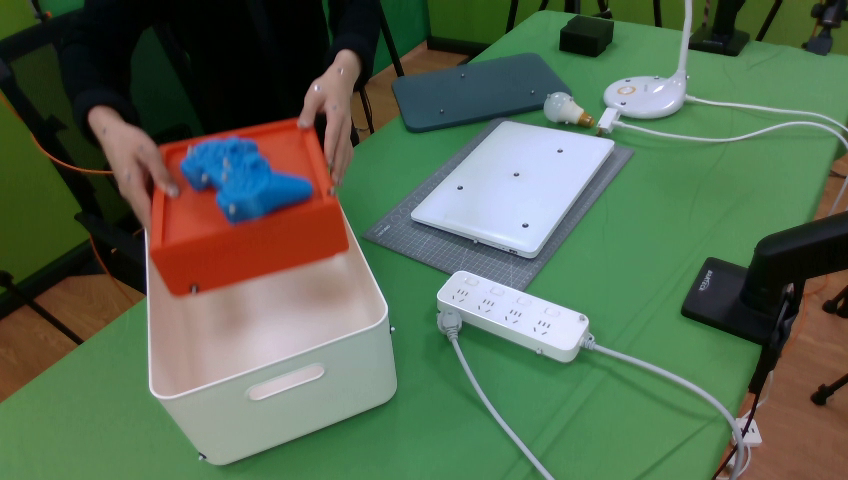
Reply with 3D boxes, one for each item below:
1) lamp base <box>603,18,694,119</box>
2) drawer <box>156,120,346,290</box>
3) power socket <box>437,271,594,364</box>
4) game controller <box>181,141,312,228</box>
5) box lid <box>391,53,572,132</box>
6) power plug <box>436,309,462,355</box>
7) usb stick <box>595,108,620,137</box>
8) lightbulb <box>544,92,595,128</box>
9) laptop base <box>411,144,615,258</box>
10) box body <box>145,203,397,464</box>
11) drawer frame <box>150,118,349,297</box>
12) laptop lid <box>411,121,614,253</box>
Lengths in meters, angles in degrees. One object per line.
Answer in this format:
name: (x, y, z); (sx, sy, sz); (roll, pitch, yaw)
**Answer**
lamp base: (0.460, -0.355, 1.205); (0.179, 0.181, 0.160); (2, 41, 7)
drawer: (-0.212, -0.050, 0.732); (0.195, 0.073, 0.210); (-14, 41, -11)
power socket: (0.118, 0.102, 0.830); (0.225, 0.033, 0.072); (20, 48, 28)
game controller: (-0.205, -0.073, 0.676); (0.097, 0.052, 0.154); (-35, 47, -24)
box lid: (0.122, -0.339, 1.366); (0.372, 0.015, 0.261); (-12, 40, -5)
power plug: (0.032, 0.127, 0.809); (0.035, 0.053, 0.072); (4, 59, 7)
usb stick: (0.355, -0.226, 1.175); (0.027, 0.022, 0.059); (29, 85, 41)
lightbulb: (0.293, -0.256, 1.215); (0.107, 0.059, 0.059); (30, 51, 16)
laptop base: (0.167, -0.102, 1.074); (0.234, 0.023, 0.355); (16, 45, 30)
box body: (-0.205, 0.080, 0.802); (0.255, 0.161, 0.361); (-18, 41, -13)
drawer frame: (-0.211, -0.050, 0.729); (0.202, 0.083, 0.212); (-15, 41, -10)
laptop lid: (0.164, -0.112, 1.068); (0.240, 0.013, 0.357); (19, 46, 30)
